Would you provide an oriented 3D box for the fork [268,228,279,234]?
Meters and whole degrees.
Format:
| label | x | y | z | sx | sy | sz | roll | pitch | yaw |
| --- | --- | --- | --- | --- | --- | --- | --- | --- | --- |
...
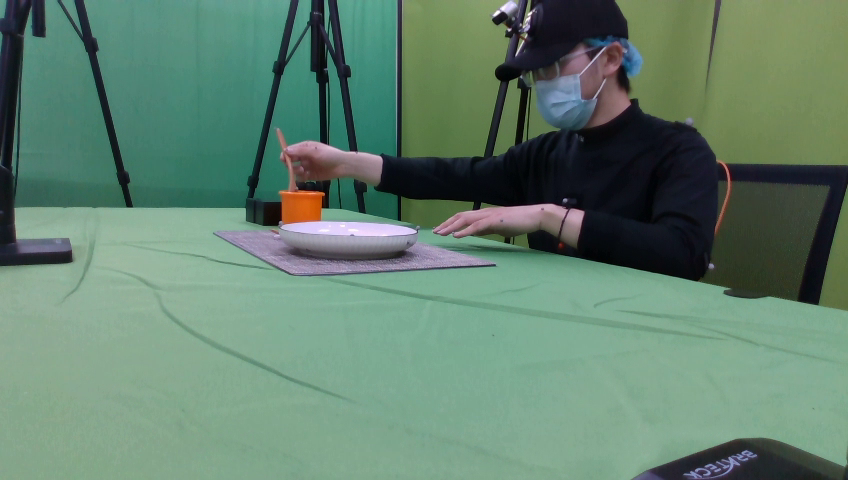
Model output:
| label | x | y | z | sx | sy | sz | roll | pitch | yaw |
| --- | --- | --- | --- | --- | --- | --- | --- | --- | --- |
| fork | -0.174 | -0.017 | 1.084 | 0.208 | 0.018 | 0.028 | -3 | -3 | -30 |

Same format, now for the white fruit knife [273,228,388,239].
| label | x | y | z | sx | sy | sz | roll | pitch | yaw |
| --- | --- | --- | --- | --- | --- | --- | --- | --- | --- |
| white fruit knife | -0.158 | -0.009 | 1.055 | 0.208 | 0.016 | 0.027 | -3 | -22 | -23 |

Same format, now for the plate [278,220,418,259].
| label | x | y | z | sx | sy | sz | roll | pitch | yaw |
| --- | --- | --- | --- | --- | --- | --- | --- | --- | --- |
| plate | -0.114 | -0.002 | 0.914 | 0.209 | 0.038 | 0.209 | 2 | 7 | 0 |

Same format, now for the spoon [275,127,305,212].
| label | x | y | z | sx | sy | sz | roll | pitch | yaw |
| --- | --- | --- | --- | --- | --- | --- | --- | --- | --- |
| spoon | -0.276 | -0.146 | 1.241 | 0.021 | 0.193 | 0.042 | -21 | -13 | 32 |
